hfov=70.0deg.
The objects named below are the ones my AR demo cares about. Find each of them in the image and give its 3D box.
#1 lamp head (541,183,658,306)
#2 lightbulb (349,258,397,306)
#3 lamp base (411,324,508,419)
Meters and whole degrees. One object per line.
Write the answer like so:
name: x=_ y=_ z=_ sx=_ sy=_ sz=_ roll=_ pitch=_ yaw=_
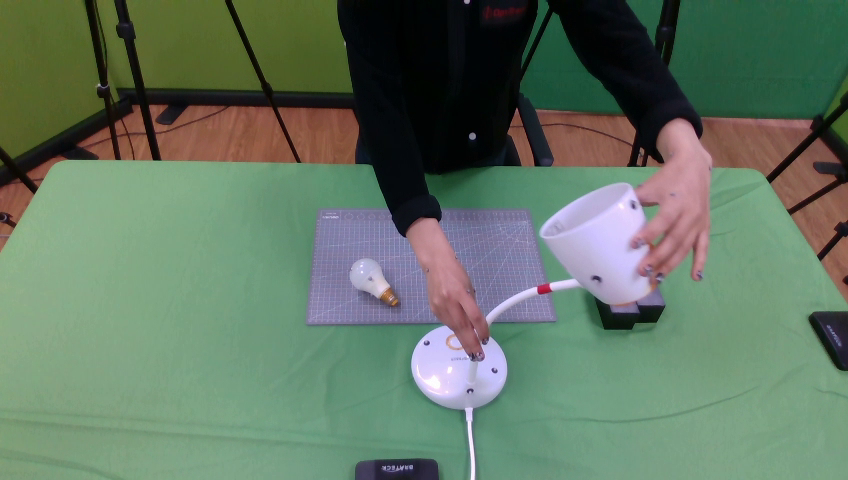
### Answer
lamp head: x=0.204 y=0.014 z=0.681 sx=0.112 sy=0.123 sz=0.112 roll=-27 pitch=14 yaw=7
lightbulb: x=-0.090 y=0.079 z=1.095 sx=0.107 sy=0.060 sz=0.059 roll=43 pitch=56 yaw=12
lamp base: x=0.066 y=0.162 z=0.939 sx=0.161 sy=0.181 sz=0.178 roll=-9 pitch=50 yaw=-12
